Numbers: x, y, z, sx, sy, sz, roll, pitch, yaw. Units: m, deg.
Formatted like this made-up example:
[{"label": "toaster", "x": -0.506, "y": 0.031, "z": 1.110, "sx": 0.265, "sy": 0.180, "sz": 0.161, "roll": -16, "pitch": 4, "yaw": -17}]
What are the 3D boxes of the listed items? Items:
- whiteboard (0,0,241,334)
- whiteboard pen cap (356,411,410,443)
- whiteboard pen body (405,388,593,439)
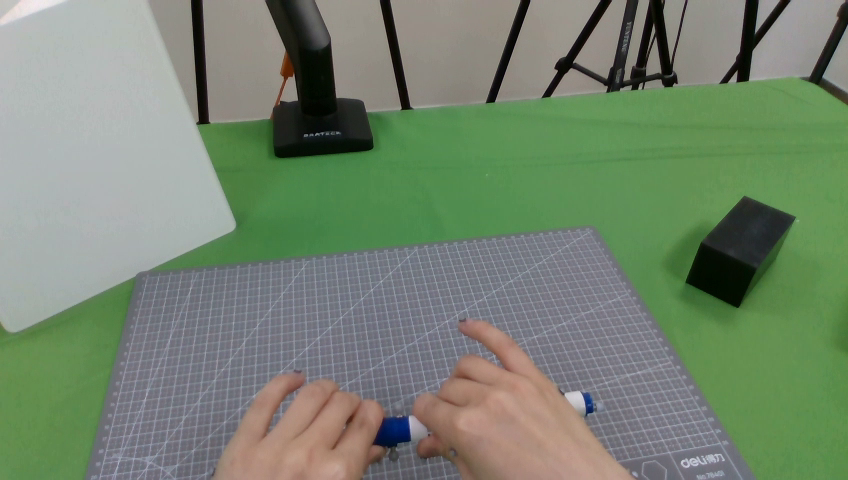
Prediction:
[{"label": "whiteboard", "x": -0.342, "y": -0.115, "z": 0.548, "sx": 0.217, "sy": 0.308, "sz": 0.142, "roll": -31, "pitch": 30, "yaw": -31}, {"label": "whiteboard pen cap", "x": -0.024, "y": 0.113, "z": 0.366, "sx": 0.033, "sy": 0.018, "sz": 0.018, "roll": -2, "pitch": 40, "yaw": -5}, {"label": "whiteboard pen body", "x": 0.034, "y": 0.108, "z": 0.371, "sx": 0.141, "sy": 0.017, "sz": 0.017, "roll": -7, "pitch": 40, "yaw": -5}]
